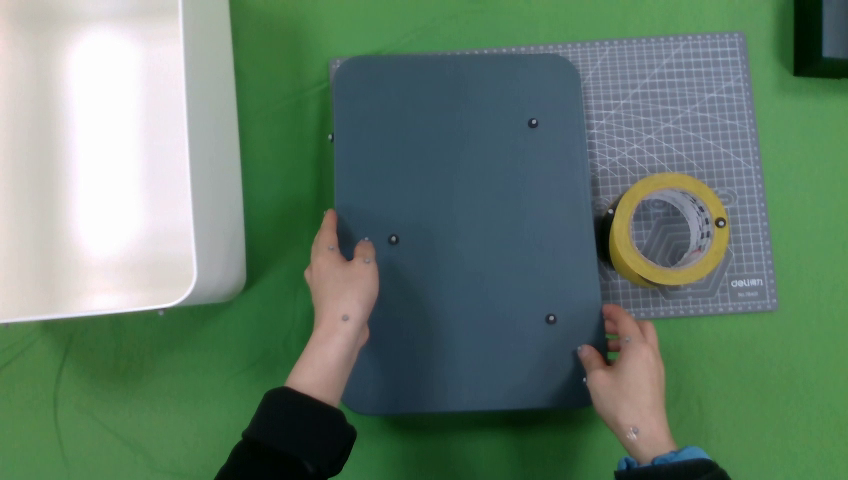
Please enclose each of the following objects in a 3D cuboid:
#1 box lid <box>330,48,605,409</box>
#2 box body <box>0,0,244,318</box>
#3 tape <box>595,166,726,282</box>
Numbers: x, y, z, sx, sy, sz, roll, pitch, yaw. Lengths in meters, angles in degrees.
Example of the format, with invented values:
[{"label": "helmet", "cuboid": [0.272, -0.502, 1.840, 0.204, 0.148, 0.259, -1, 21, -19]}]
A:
[{"label": "box lid", "cuboid": [0.039, -0.025, 0.608, 0.263, 0.015, 0.369, -2, 79, -4]}, {"label": "box body", "cuboid": [-0.319, -0.111, 0.572, 0.254, 0.160, 0.363, -5, 85, 0]}, {"label": "tape", "cuboid": [0.237, -0.014, 0.609, 0.117, 0.053, 0.116, 0, 85, 2]}]
